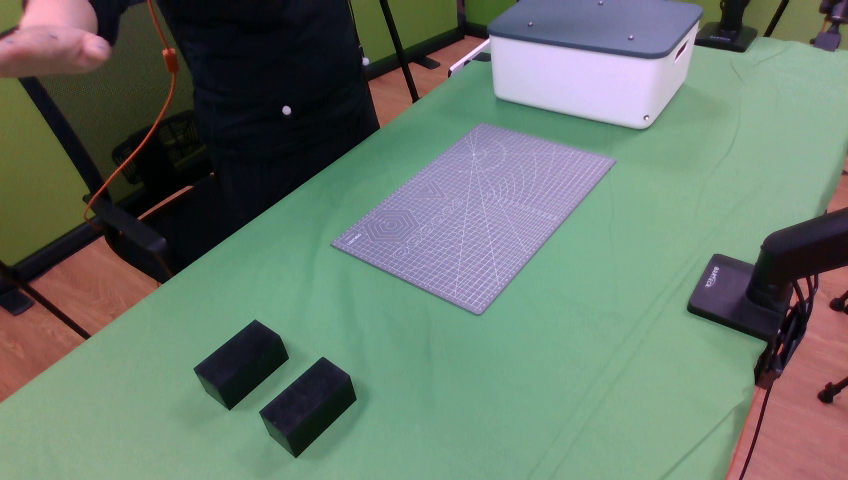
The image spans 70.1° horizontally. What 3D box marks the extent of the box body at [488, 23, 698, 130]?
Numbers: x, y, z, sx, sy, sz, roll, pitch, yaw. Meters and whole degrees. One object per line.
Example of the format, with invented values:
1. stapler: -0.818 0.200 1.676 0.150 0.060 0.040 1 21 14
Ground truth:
1. box body: 0.345 -0.379 1.257 0.361 0.161 0.255 20 48 29

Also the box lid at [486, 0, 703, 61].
1. box lid: 0.338 -0.435 1.208 0.369 0.015 0.264 20 47 29
